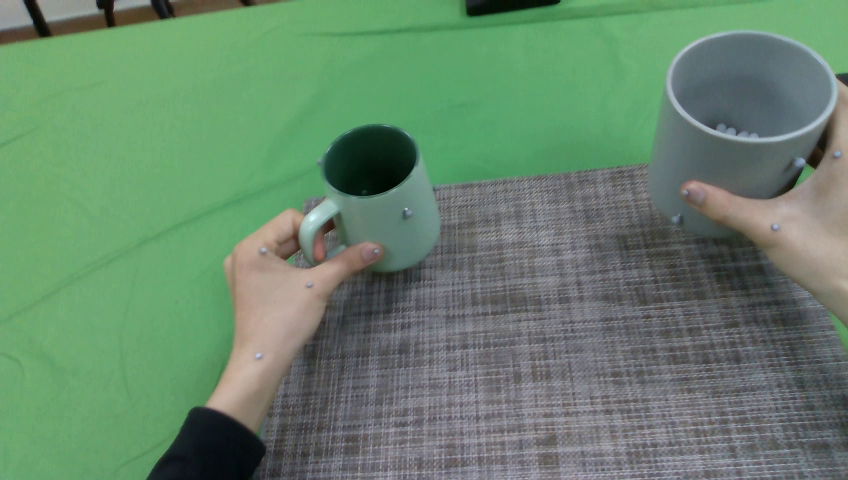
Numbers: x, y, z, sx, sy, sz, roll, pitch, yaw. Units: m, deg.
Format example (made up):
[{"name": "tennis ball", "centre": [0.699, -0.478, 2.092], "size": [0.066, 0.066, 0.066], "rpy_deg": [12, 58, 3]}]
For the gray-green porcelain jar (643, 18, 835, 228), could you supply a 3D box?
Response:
[{"name": "gray-green porcelain jar", "centre": [0.221, -0.078, 0.448], "size": [0.106, 0.128, 0.105], "rpy_deg": [-5, 57, 9]}]

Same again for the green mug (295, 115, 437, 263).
[{"name": "green mug", "centre": [-0.051, -0.030, 0.503], "size": [0.125, 0.106, 0.091], "rpy_deg": [-39, 60, -17]}]
